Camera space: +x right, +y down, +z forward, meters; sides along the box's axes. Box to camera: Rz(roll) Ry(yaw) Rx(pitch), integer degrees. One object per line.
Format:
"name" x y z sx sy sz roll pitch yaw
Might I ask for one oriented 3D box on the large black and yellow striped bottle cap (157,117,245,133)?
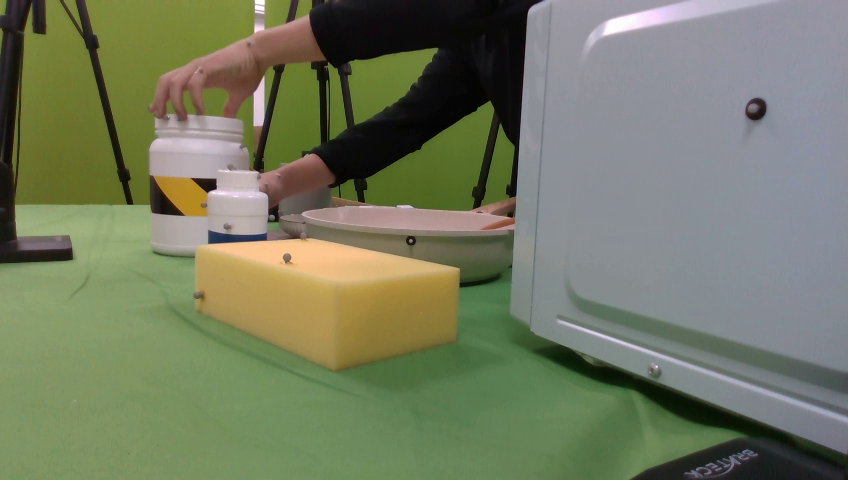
"large black and yellow striped bottle cap" -0.311 -0.159 0.844 0.115 0.019 0.115 0 8 0

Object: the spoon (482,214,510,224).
"spoon" 0.076 -0.013 0.794 0.193 0.021 0.042 -24 -2 11

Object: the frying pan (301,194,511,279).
"frying pan" 0.050 -0.028 0.864 0.305 0.102 0.490 8 18 35

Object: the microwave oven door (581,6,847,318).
"microwave oven door" 0.295 -0.067 0.569 0.358 0.243 0.039 -3 8 -31

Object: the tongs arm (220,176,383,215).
"tongs arm" -0.285 -0.104 1.445 0.389 0.027 0.028 9 -4 -23

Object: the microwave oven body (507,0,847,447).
"microwave oven body" 0.331 -0.042 0.425 0.444 0.260 0.324 -2 8 -31

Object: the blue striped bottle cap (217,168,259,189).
"blue striped bottle cap" -0.202 -0.067 0.656 0.044 0.020 0.044 0 10 0

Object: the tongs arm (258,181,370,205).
"tongs arm" -0.241 -0.095 1.373 0.387 0.026 0.050 9 0 -37

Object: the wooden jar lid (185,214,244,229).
"wooden jar lid" -0.404 -0.037 1.169 0.108 0.020 0.108 3 7 0

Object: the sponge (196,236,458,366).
"sponge" -0.087 0.039 0.500 0.206 0.061 0.119 8 10 44

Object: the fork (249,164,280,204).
"fork" -0.396 -0.143 1.486 0.028 0.018 0.208 20 -26 45

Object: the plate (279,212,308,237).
"plate" -0.139 -0.022 1.020 0.209 0.038 0.209 2 8 0

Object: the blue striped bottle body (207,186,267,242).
"blue striped bottle body" -0.204 -0.016 0.663 0.063 0.120 0.063 2 7 0

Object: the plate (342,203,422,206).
"plate" -0.089 -0.053 1.309 0.208 0.039 0.207 2 8 0

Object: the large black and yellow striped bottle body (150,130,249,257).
"large black and yellow striped bottle body" -0.314 -0.075 0.854 0.131 0.184 0.130 2 7 0

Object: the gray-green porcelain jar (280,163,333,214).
"gray-green porcelain jar" -0.238 -0.092 1.221 0.106 0.126 0.106 2 7 0

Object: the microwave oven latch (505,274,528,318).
"microwave oven latch" 0.100 0.041 0.472 0.079 0.029 0.030 -2 8 -31
